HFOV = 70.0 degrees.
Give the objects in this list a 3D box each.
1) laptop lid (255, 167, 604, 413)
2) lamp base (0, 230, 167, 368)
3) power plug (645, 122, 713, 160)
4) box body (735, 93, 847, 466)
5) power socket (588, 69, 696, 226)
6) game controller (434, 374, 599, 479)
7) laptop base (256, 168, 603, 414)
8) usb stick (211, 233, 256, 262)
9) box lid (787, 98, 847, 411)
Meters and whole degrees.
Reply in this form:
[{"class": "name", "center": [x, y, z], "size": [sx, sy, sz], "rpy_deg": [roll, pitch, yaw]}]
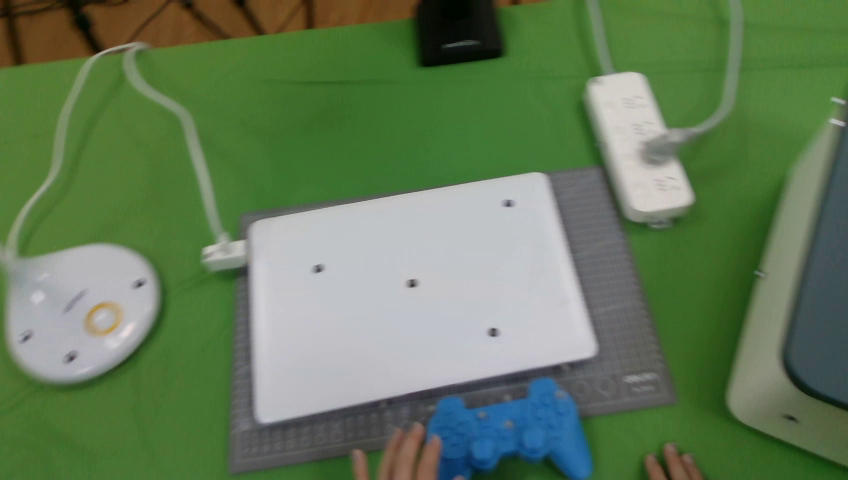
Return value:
[{"class": "laptop lid", "center": [-0.005, 0.043, 0.661], "size": [0.357, 0.013, 0.239], "rpy_deg": [-8, 64, -2]}, {"class": "lamp base", "center": [-0.383, 0.025, 0.610], "size": [0.178, 0.182, 0.159], "rpy_deg": [16, 64, 14]}, {"class": "power plug", "center": [0.296, -0.109, 0.708], "size": [0.072, 0.053, 0.035], "rpy_deg": [1, 61, 2]}, {"class": "box body", "center": [0.476, 0.044, 0.570], "size": [0.253, 0.161, 0.362], "rpy_deg": [22, 65, 14]}, {"class": "power socket", "center": [0.262, -0.122, 0.742], "size": [0.072, 0.033, 0.224], "rpy_deg": [-8, 62, -3]}, {"class": "game controller", "center": [0.084, 0.185, 0.579], "size": [0.155, 0.052, 0.096], "rpy_deg": [-9, 60, -3]}, {"class": "laptop base", "center": [-0.005, 0.047, 0.673], "size": [0.354, 0.023, 0.233], "rpy_deg": [-10, 66, -3]}, {"class": "usb stick", "center": [-0.209, 0.008, 0.688], "size": [0.059, 0.027, 0.021], "rpy_deg": [-6, 57, -4]}, {"class": "box lid", "center": [0.474, 0.008, 0.506], "size": [0.262, 0.015, 0.370], "rpy_deg": [22, 66, 14]}]
